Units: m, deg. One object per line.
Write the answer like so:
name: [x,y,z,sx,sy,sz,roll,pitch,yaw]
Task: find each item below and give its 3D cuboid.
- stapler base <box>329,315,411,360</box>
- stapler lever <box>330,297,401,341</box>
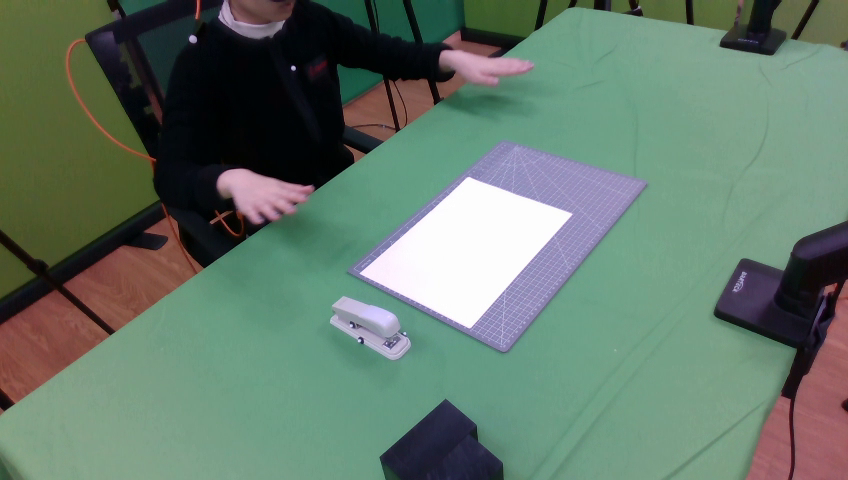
stapler base: [-0.077,0.122,0.841,0.129,0.024,0.041,22,46,33]
stapler lever: [-0.081,0.102,0.826,0.117,0.040,0.027,22,46,33]
